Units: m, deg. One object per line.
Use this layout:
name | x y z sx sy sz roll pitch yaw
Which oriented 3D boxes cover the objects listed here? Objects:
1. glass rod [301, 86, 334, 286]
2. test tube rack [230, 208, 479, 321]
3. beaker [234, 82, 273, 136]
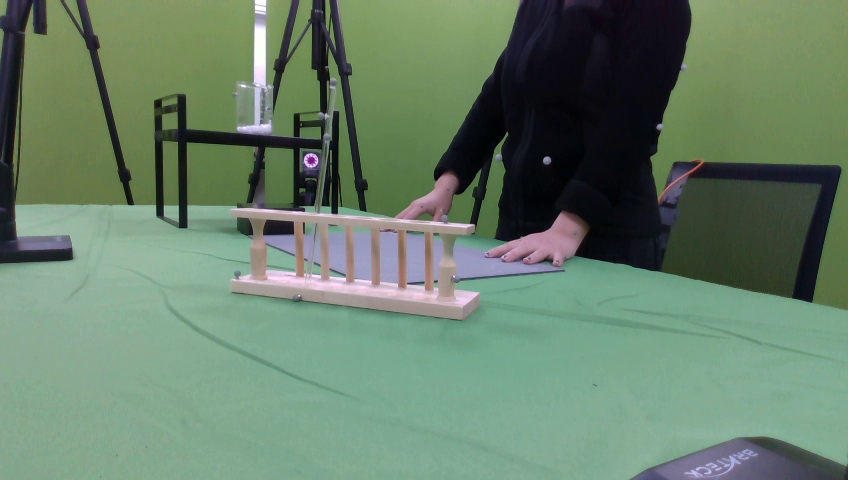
glass rod | -0.104 -0.049 0.587 0.008 0.199 0.008 9 7 -1
test tube rack | -0.069 0.017 0.598 0.242 0.085 0.067 5 8 18
beaker | -0.338 -0.260 1.208 0.083 0.100 0.074 10 11 41
